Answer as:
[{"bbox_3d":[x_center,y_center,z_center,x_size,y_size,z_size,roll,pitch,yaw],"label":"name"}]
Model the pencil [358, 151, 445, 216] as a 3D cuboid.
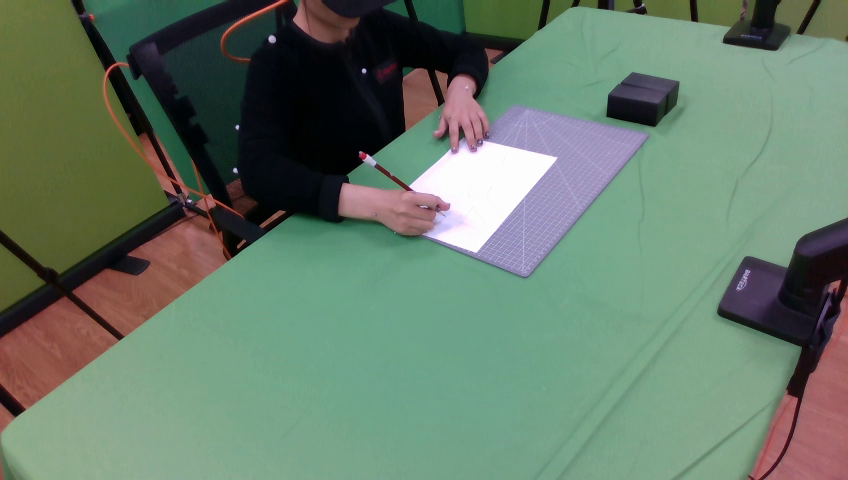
[{"bbox_3d":[-0.032,-0.087,0.979,0.012,0.196,0.012,-31,41,32],"label":"pencil"}]
